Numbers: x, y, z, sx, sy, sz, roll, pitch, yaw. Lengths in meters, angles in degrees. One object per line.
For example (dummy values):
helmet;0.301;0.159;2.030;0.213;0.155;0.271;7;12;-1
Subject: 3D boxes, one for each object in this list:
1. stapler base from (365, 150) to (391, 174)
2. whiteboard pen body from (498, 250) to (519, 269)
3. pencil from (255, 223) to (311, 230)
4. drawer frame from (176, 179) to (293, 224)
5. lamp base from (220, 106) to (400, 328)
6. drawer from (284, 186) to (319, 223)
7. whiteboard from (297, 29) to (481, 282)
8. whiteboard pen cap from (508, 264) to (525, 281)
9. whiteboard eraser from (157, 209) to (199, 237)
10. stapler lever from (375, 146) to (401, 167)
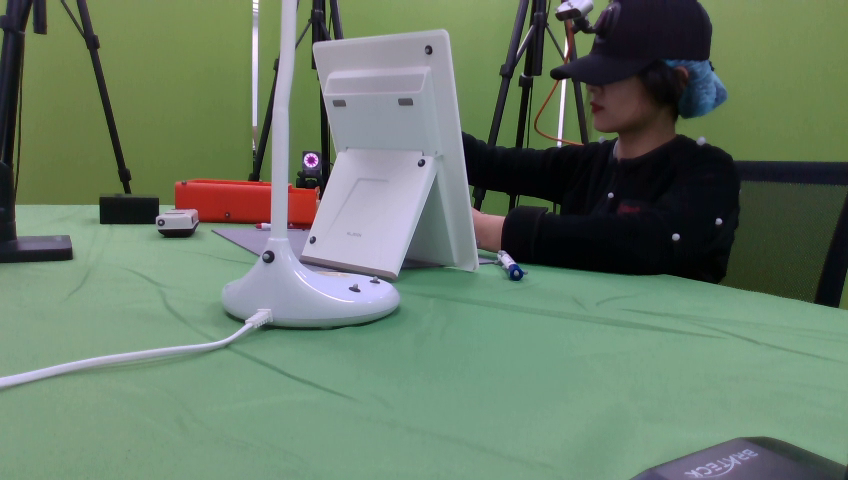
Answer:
stapler base;-0.079;-0.148;1.113;0.024;0.041;0.130;-32;17;-8
whiteboard pen body;0.115;0.032;0.810;0.017;0.017;0.140;2;8;-1
pencil;-0.216;-0.022;1.134;0.195;0.012;0.012;2;7;-21
drawer frame;-0.395;-0.086;1.299;0.214;0.082;0.201;1;8;-9
lamp base;-0.101;-0.023;0.531;0.160;0.180;0.179;4;10;10
drawer;-0.333;-0.082;1.309;0.212;0.073;0.194;1;8;-8
whiteboard;-0.075;-0.082;0.741;0.216;0.305;0.144;9;29;37
whiteboard pen cap;0.115;0.039;0.752;0.018;0.018;0.033;2;9;0
whiteboard eraser;-0.411;-0.029;1.016;0.056;0.042;0.112;2;7;-16
stapler lever;-0.067;-0.157;1.115;0.040;0.027;0.118;-29;17;1
